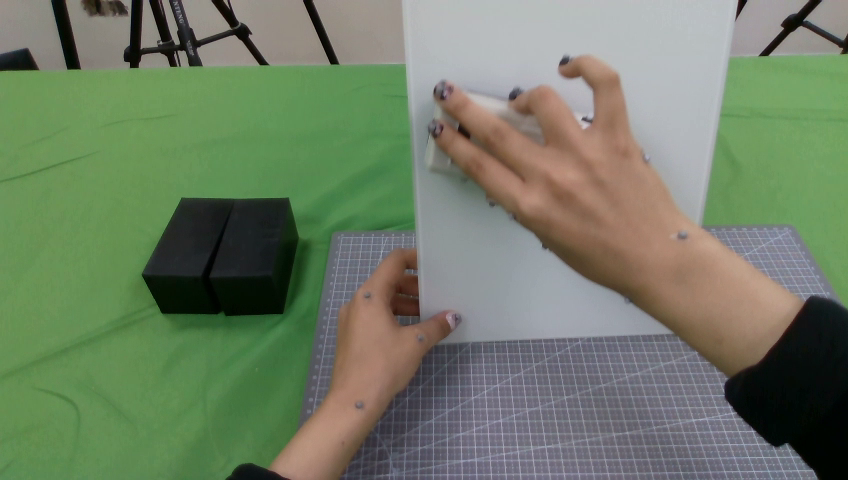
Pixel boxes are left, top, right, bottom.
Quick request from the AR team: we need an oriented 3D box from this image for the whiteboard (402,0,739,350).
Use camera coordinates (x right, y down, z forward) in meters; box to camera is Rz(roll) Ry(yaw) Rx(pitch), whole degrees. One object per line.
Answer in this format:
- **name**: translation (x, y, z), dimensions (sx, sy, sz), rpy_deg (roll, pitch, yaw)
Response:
- **whiteboard**: translation (0.098, -0.082, 0.492), dimensions (0.217, 0.307, 0.143), rpy_deg (-2, 25, 1)

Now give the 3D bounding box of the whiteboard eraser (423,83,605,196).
- **whiteboard eraser**: translation (0.059, -0.067, 0.405), dimensions (0.113, 0.056, 0.041), rpy_deg (10, 22, -5)
